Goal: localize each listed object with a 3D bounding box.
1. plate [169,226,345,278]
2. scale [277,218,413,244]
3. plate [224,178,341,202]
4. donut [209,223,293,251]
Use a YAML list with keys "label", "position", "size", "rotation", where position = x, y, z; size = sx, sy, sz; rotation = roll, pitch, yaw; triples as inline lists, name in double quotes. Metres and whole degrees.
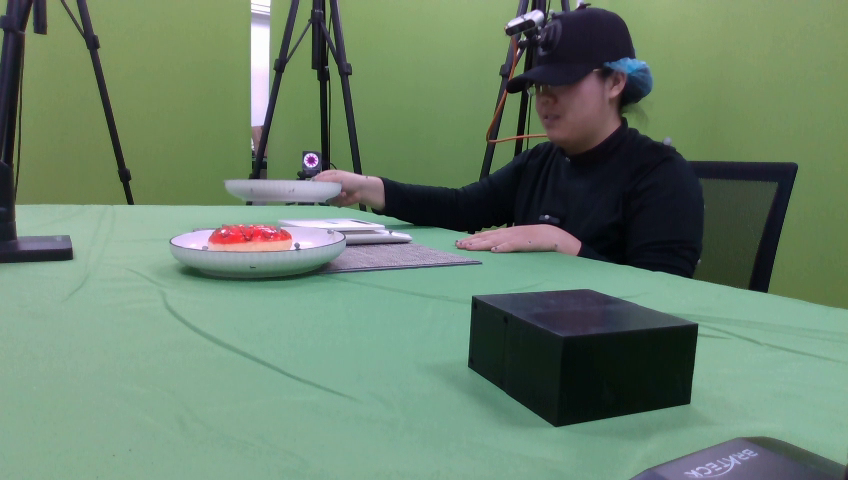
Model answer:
- label: "plate"
  position: [-0.202, 0.014, 0.748]
  size: [0.209, 0.038, 0.209]
  rotation: [1, 9, 0]
- label: "scale"
  position: [-0.134, -0.016, 1.015]
  size: [0.202, 0.031, 0.148]
  rotation: [-1, 9, -33]
- label: "plate"
  position: [-0.259, -0.090, 1.115]
  size: [0.208, 0.039, 0.207]
  rotation: [1, 3, 0]
- label: "donut"
  position: [-0.210, 0.004, 0.738]
  size: [0.099, 0.048, 0.099]
  rotation: [0, 8, 0]
